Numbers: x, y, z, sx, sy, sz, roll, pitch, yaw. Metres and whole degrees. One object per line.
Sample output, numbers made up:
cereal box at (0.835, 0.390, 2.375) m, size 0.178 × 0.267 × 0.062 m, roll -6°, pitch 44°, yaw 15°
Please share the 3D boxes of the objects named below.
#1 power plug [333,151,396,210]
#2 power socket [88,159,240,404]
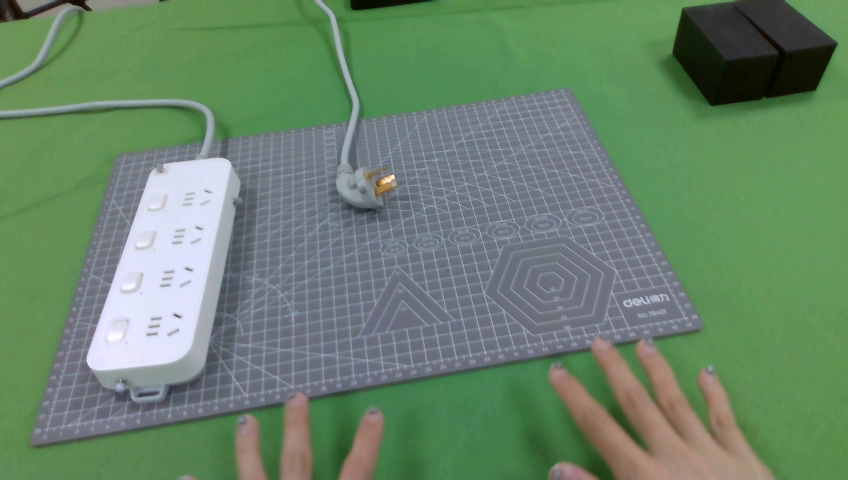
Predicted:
power plug at (-0.053, -0.059, 0.512) m, size 0.052 × 0.035 × 0.072 m, roll -17°, pitch 67°, yaw 10°
power socket at (-0.191, 0.016, 0.465) m, size 0.072 × 0.033 × 0.224 m, roll -5°, pitch 47°, yaw -1°
